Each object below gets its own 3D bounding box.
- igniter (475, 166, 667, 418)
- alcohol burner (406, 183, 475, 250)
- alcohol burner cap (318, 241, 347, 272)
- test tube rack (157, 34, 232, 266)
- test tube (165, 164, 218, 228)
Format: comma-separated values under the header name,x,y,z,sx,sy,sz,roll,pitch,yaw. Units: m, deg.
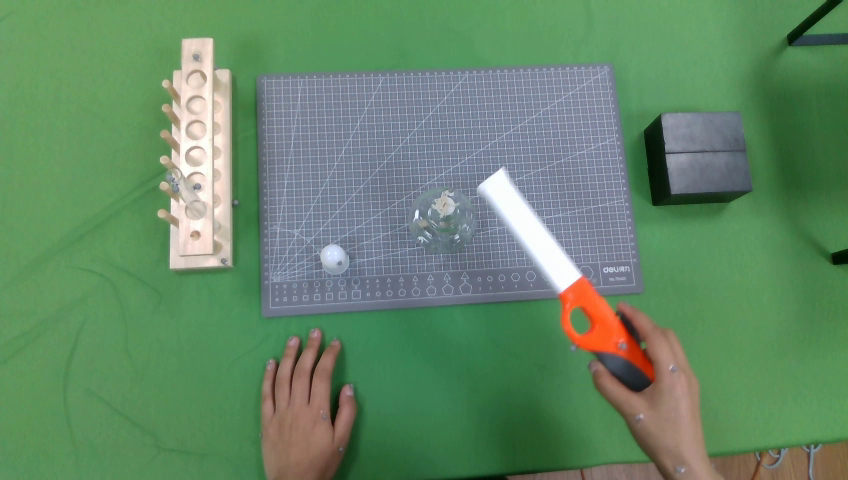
name,x,y,z,sx,sy,sz,roll,pitch,yaw
igniter,0.142,0.049,0.574,0.057,0.025,0.276,-37,90,-7
alcohol burner,0.019,-0.029,0.670,0.078,0.119,0.077,1,80,-3
alcohol burner cap,-0.105,0.016,0.688,0.034,0.048,0.033,1,78,-4
test tube rack,-0.260,-0.098,0.680,0.067,0.085,0.241,-3,79,-4
test tube,-0.235,-0.041,0.620,0.017,0.151,0.017,2,73,-5
